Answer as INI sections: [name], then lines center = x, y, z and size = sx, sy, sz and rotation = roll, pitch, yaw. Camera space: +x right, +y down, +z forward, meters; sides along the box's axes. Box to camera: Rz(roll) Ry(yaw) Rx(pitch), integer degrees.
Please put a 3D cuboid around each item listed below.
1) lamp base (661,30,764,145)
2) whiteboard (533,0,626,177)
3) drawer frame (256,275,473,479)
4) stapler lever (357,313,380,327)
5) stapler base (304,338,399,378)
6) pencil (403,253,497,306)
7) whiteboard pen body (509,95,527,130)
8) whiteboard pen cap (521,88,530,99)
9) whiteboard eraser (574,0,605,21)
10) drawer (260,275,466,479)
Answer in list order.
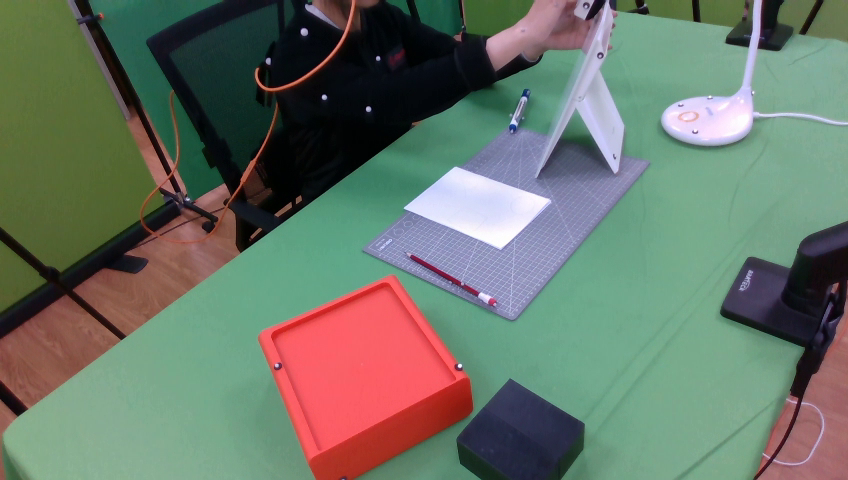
[lamp base]
center = 0.535, -0.287, 1.096
size = 0.179, 0.181, 0.159
rotation = -10, 40, -4
[whiteboard]
center = 0.321, -0.258, 1.050
size = 0.144, 0.306, 0.217
rotation = 21, 45, 5
[drawer frame]
center = -0.078, 0.164, 0.756
size = 0.202, 0.083, 0.211
rotation = -23, 43, -17
[stapler lever]
center = -0.107, 0.127, 0.792
size = 0.118, 0.040, 0.026
rotation = -15, 26, 2
[stapler base]
center = -0.099, 0.150, 0.805
size = 0.130, 0.024, 0.041
rotation = -13, 25, 2
[pencil]
center = 0.034, 0.056, 0.914
size = 0.192, 0.012, 0.012
rotation = 27, 52, 38
[whiteboard pen body]
center = 0.199, -0.273, 1.262
size = 0.017, 0.017, 0.140
rotation = 7, 44, 19
[whiteboard pen cap]
center = 0.218, -0.312, 1.301
size = 0.018, 0.018, 0.033
rotation = 6, 47, 17
[whiteboard eraser]
center = 0.275, -0.404, 0.975
size = 0.042, 0.055, 0.112
rotation = 22, 52, 3
[drawer]
center = -0.080, 0.162, 0.760
size = 0.195, 0.073, 0.210
rotation = -22, 42, -16
